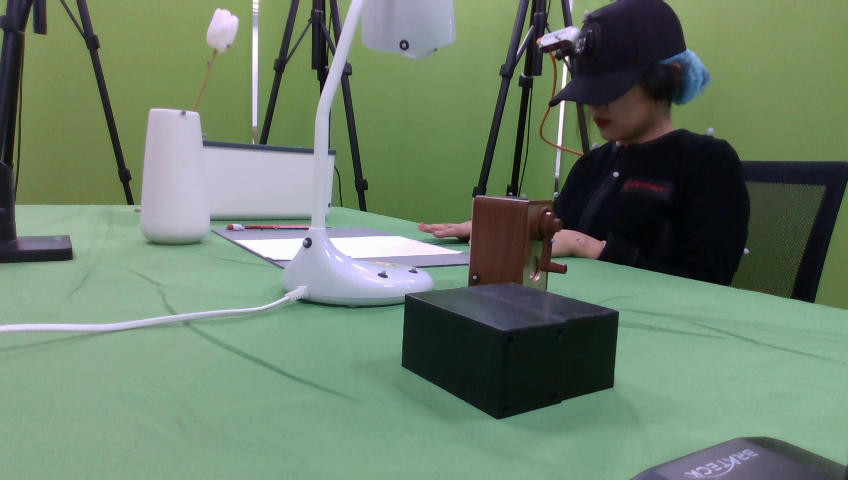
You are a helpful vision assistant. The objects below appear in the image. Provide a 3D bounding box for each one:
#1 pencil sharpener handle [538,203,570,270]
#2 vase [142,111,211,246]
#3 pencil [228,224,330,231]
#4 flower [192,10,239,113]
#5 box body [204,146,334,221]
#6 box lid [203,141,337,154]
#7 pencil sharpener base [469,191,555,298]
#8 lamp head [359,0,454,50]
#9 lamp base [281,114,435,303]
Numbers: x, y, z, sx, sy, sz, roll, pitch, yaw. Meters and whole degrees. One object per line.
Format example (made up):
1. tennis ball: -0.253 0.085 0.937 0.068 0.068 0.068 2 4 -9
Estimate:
1. pencil sharpener handle: 0.137 -0.003 0.619 0.030 0.067 0.036 8 5 38
2. vase: -0.378 -0.093 0.920 0.098 0.200 0.098 2 9 0
3. pencil: -0.265 -0.023 1.124 0.195 0.012 0.012 -1 8 -32
4. flower: -0.354 -0.174 0.915 0.038 0.361 0.044 18 -4 12
5. box body: -0.413 -0.134 1.379 0.366 0.160 0.253 -2 9 -31
6. box lid: -0.407 -0.209 1.370 0.373 0.015 0.262 -1 8 -31
7. pencil sharpener base: 0.097 0.003 0.652 0.076 0.107 0.061 8 9 38
8. lamp head: -0.024 -0.283 0.674 0.112 0.123 0.112 -3 38 3
9. lamp base: -0.071 -0.035 0.614 0.160 0.180 0.180 6 10 27
